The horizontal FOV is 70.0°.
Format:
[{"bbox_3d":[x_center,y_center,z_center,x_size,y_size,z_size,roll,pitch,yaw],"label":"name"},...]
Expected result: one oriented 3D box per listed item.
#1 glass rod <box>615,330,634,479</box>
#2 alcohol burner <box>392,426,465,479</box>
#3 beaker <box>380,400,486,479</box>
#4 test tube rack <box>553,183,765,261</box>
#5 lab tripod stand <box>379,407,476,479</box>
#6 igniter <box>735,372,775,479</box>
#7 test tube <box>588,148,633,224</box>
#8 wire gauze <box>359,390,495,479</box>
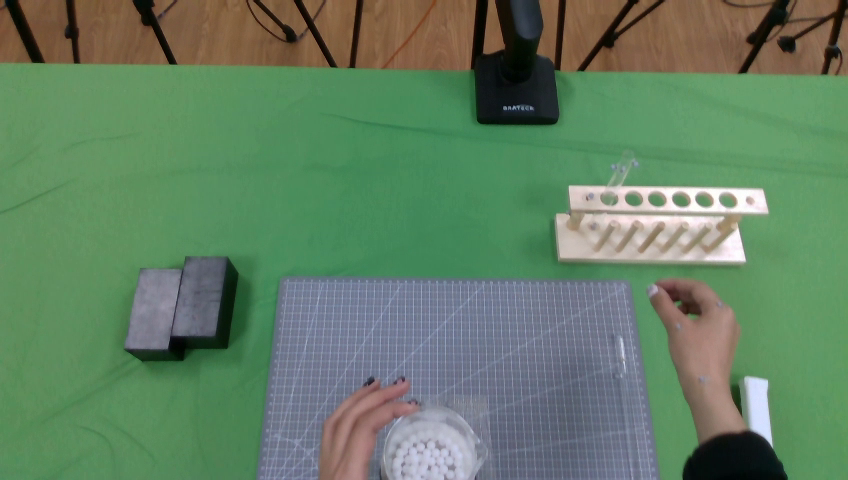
[{"bbox_3d":[0.235,0.203,0.708,0.008,0.008,0.198,2,68,-1],"label":"glass rod"},{"bbox_3d":[0.006,0.230,0.631,0.078,0.120,0.077,1,63,-3],"label":"alcohol burner"},{"bbox_3d":[0.006,0.184,0.515,0.084,0.101,0.073,-3,63,-4],"label":"beaker"},{"bbox_3d":[0.297,-0.021,0.776,0.242,0.086,0.066,1,65,-1],"label":"test tube rack"},{"bbox_3d":[0.000,0.233,0.618,0.148,0.132,0.147,0,64,0],"label":"lab tripod stand"},{"bbox_3d":[0.372,0.283,0.668,0.057,0.025,0.274,12,65,-7],"label":"igniter"},{"bbox_3d":[0.225,-0.061,0.738,0.017,0.151,0.017,0,61,0],"label":"test tube"},{"bbox_3d":[0.002,0.202,0.560,0.125,0.011,0.120,-3,63,-1],"label":"wire gauze"}]
